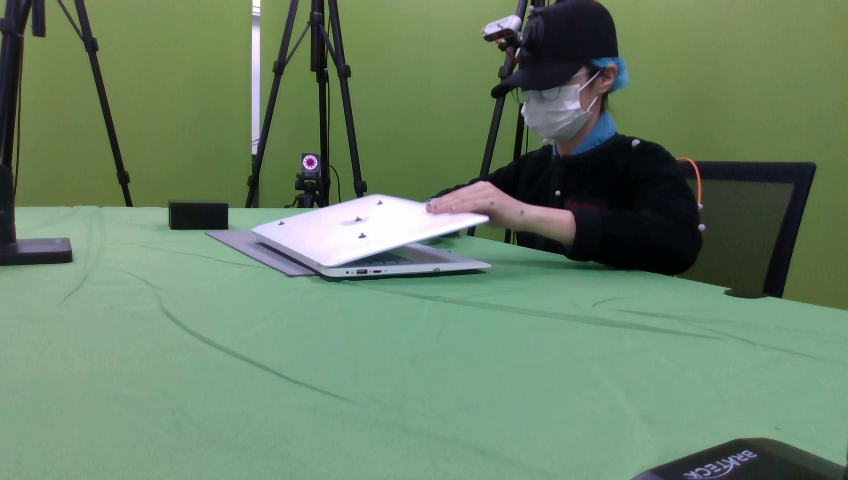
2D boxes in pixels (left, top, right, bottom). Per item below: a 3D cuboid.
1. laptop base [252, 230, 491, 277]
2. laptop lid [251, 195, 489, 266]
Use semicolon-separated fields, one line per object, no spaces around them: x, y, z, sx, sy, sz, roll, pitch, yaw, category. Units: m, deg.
-0.095;0.016;0.889;0.237;0.023;0.352;1;7;-30;laptop base
-0.096;-0.026;0.881;0.243;0.013;0.355;-16;16;-25;laptop lid
